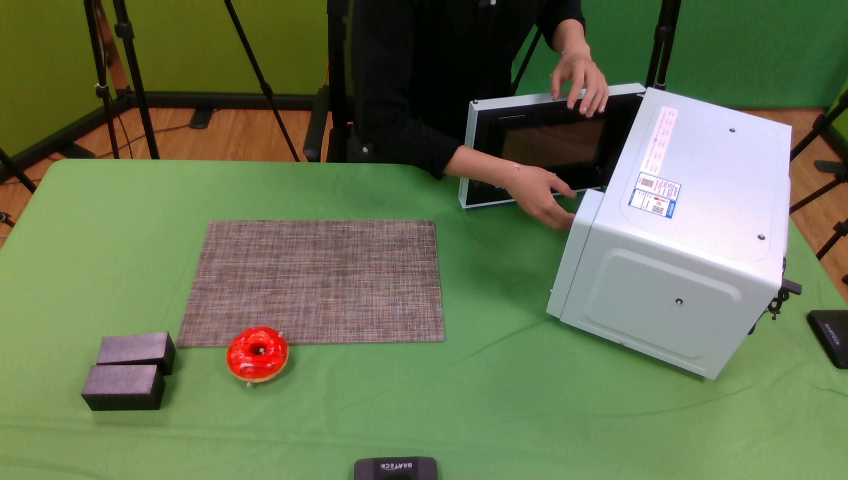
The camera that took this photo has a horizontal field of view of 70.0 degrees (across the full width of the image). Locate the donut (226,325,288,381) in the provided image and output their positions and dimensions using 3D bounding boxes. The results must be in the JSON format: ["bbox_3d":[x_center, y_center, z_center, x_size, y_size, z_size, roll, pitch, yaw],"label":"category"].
[{"bbox_3d":[-0.270,0.182,0.984,0.099,0.048,0.098,5,49,-5],"label":"donut"}]

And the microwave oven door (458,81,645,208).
[{"bbox_3d":[0.251,-0.190,1.221,0.356,0.245,0.039,-9,47,-12],"label":"microwave oven door"}]

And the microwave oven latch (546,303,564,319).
[{"bbox_3d":[0.242,0.102,1.081,0.030,0.029,0.079,21,48,17],"label":"microwave oven latch"}]

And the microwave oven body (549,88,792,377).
[{"bbox_3d":[0.456,-0.028,1.088,0.325,0.261,0.440,20,47,16],"label":"microwave oven body"}]
